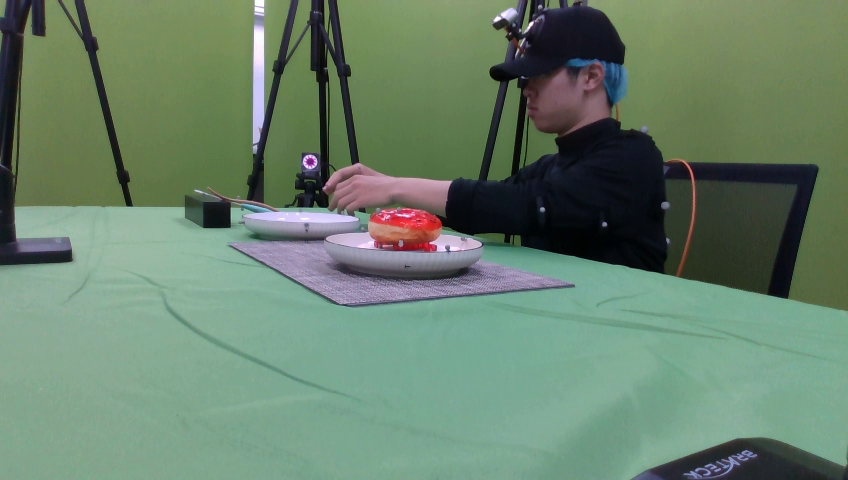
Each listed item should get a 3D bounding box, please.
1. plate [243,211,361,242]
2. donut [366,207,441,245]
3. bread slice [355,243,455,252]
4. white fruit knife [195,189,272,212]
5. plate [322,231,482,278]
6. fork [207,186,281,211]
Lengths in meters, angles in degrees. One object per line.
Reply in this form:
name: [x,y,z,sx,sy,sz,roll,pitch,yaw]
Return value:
plate: [-0.219,-0.025,1.092,0.208,0.039,0.207,3,7,0]
donut: [-0.027,-0.017,0.786,0.099,0.048,0.099,2,7,0]
bread slice: [-0.027,0.020,0.794,0.131,0.019,0.105,6,7,17]
white fruit knife: [-0.378,-0.073,1.270,0.208,0.016,0.027,18,-3,-32]
plate: [-0.028,0.018,0.789,0.209,0.038,0.209,3,7,0]
fork: [-0.342,-0.070,1.244,0.208,0.018,0.028,18,-5,-24]
